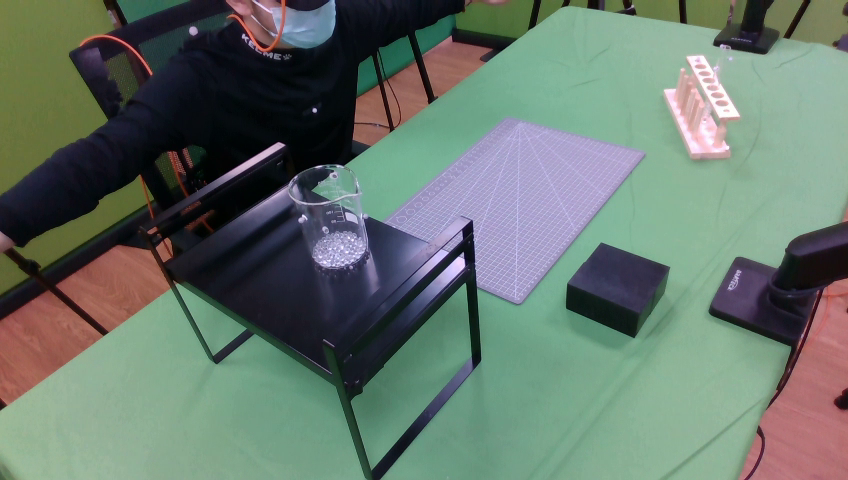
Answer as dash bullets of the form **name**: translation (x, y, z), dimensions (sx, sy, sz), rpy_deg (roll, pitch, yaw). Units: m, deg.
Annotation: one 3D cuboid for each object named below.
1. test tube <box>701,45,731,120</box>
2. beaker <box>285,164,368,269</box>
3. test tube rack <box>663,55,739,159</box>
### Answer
- **test tube**: translation (0.527, -0.281, 1.095), dimensions (0.017, 0.151, 0.017), rpy_deg (-3, 46, 3)
- **beaker**: translation (-0.102, -0.024, 0.676), dimensions (0.083, 0.101, 0.074), rpy_deg (8, 43, 17)
- **test tube rack**: translation (0.517, -0.256, 1.144), dimensions (0.066, 0.085, 0.241), rpy_deg (-1, 41, 8)
